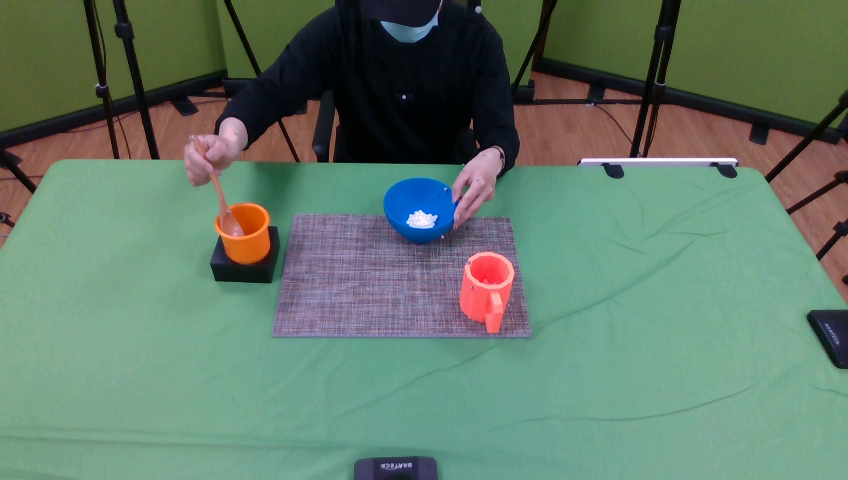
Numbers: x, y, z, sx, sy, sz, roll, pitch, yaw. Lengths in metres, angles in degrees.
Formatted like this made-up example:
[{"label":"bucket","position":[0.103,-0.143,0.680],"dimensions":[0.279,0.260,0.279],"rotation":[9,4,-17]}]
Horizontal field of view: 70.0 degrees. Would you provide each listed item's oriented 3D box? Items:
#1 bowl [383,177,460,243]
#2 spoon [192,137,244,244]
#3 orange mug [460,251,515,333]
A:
[{"label":"bowl","position":[-0.006,-0.048,1.197],"dimensions":[0.151,0.077,0.150],"rotation":[2,46,-2]},{"label":"spoon","position":[-0.351,-0.082,1.031],"dimensions":[0.021,0.194,0.041],"rotation":[-5,21,27]},{"label":"orange mug","position":[0.114,0.095,1.053],"dimensions":[0.083,0.101,0.125],"rotation":[-5,42,-8]}]
